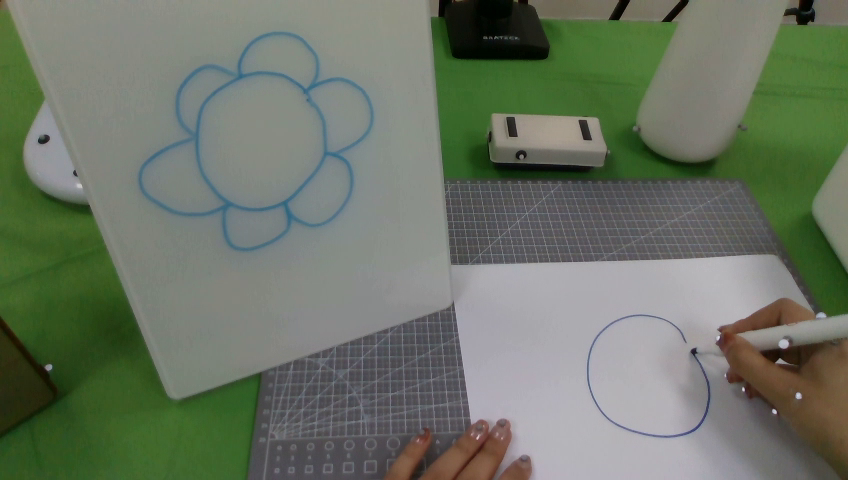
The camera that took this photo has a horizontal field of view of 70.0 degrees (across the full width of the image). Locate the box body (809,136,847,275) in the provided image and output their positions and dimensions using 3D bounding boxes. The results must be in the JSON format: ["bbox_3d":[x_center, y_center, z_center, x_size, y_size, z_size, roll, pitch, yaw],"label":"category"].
[{"bbox_3d":[0.491,0.038,0.430,0.254,0.162,0.360,0,48,-4],"label":"box body"}]

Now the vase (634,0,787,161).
[{"bbox_3d":[0.274,-0.172,0.576,0.098,0.201,0.097,3,48,-3],"label":"vase"}]

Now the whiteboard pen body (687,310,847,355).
[{"bbox_3d":[0.234,0.064,0.408,0.017,0.141,0.017,8,70,-24],"label":"whiteboard pen body"}]

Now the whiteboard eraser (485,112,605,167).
[{"bbox_3d":[0.119,-0.099,0.603,0.113,0.042,0.055,1,46,-3],"label":"whiteboard eraser"}]

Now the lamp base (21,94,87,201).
[{"bbox_3d":[-0.296,-0.152,0.522,0.178,0.182,0.160,30,52,24],"label":"lamp base"}]

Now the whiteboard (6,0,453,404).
[{"bbox_3d":[-0.114,-0.078,0.425,0.218,0.308,0.142,-16,32,-17],"label":"whiteboard"}]

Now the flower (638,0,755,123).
[{"bbox_3d":[0.290,-0.217,0.506,0.044,0.363,0.038,-22,70,-30],"label":"flower"}]

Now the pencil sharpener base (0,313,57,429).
[{"bbox_3d":[-0.293,0.065,0.376,0.076,0.108,0.061,36,55,25],"label":"pencil sharpener base"}]
